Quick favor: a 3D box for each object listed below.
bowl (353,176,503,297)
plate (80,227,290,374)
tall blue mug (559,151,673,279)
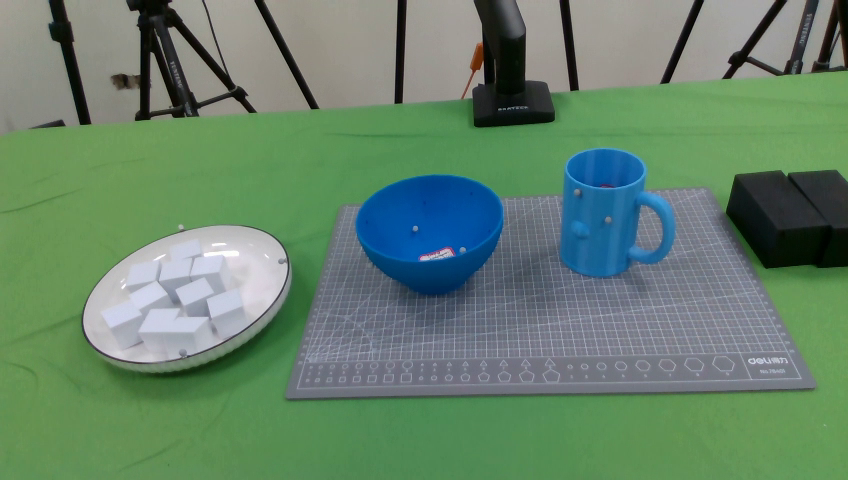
[{"bbox_3d":[0.007,0.006,0.628,0.151,0.077,0.150,-4,38,4],"label":"bowl"},{"bbox_3d":[-0.241,0.062,0.631,0.209,0.038,0.207,-3,38,3],"label":"plate"},{"bbox_3d":[0.193,-0.023,0.612,0.107,0.109,0.077,5,39,15],"label":"tall blue mug"}]
